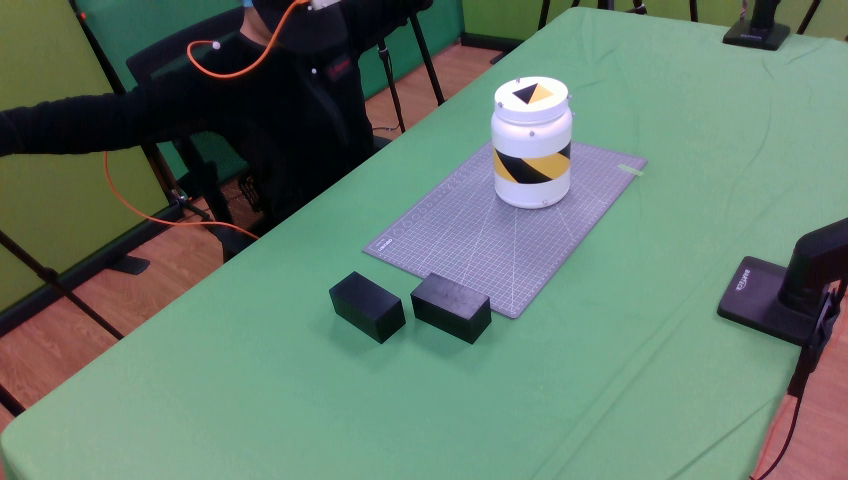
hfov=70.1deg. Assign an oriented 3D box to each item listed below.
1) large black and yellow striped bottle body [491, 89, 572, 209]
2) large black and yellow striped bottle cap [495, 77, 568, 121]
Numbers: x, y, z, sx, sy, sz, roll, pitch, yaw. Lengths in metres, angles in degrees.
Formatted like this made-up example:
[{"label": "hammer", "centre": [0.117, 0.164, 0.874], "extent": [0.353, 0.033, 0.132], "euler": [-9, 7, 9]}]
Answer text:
[{"label": "large black and yellow striped bottle body", "centre": [0.180, -0.159, 1.006], "extent": [0.131, 0.185, 0.130], "euler": [-5, 40, 5]}, {"label": "large black and yellow striped bottle cap", "centre": [0.169, -0.224, 0.954], "extent": [0.115, 0.019, 0.114], "euler": [-4, 41, 4]}]
